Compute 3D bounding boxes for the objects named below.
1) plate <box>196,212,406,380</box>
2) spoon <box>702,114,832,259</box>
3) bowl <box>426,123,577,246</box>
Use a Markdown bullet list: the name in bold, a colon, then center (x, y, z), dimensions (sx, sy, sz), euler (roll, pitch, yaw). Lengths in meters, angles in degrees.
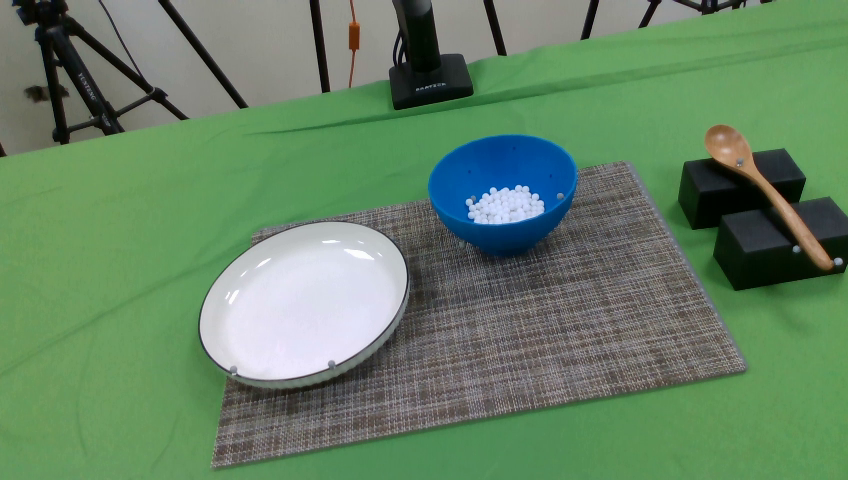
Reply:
- **plate**: center (-0.118, 0.054, 0.603), dimensions (0.207, 0.039, 0.205), euler (-7, 44, 7)
- **spoon**: center (0.313, -0.055, 0.558), dimensions (0.041, 0.022, 0.191), euler (-13, 45, 1)
- **bowl**: center (0.082, -0.047, 0.629), dimensions (0.151, 0.077, 0.150), euler (-6, 44, 7)
